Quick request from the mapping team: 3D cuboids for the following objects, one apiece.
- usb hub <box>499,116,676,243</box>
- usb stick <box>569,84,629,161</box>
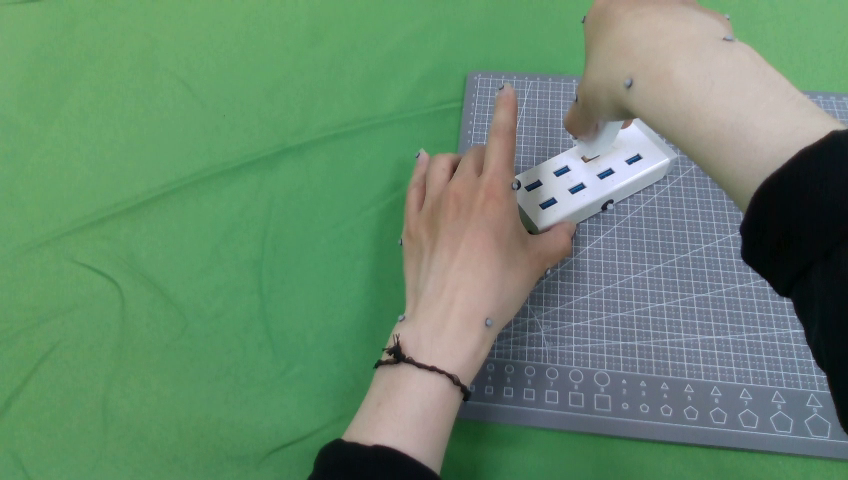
[{"bbox_3d":[0.121,-0.047,0.448,0.125,0.025,0.049,-26,62,-14],"label":"usb hub"},{"bbox_3d":[0.121,-0.079,0.427,0.021,0.059,0.027,-26,63,-17],"label":"usb stick"}]
